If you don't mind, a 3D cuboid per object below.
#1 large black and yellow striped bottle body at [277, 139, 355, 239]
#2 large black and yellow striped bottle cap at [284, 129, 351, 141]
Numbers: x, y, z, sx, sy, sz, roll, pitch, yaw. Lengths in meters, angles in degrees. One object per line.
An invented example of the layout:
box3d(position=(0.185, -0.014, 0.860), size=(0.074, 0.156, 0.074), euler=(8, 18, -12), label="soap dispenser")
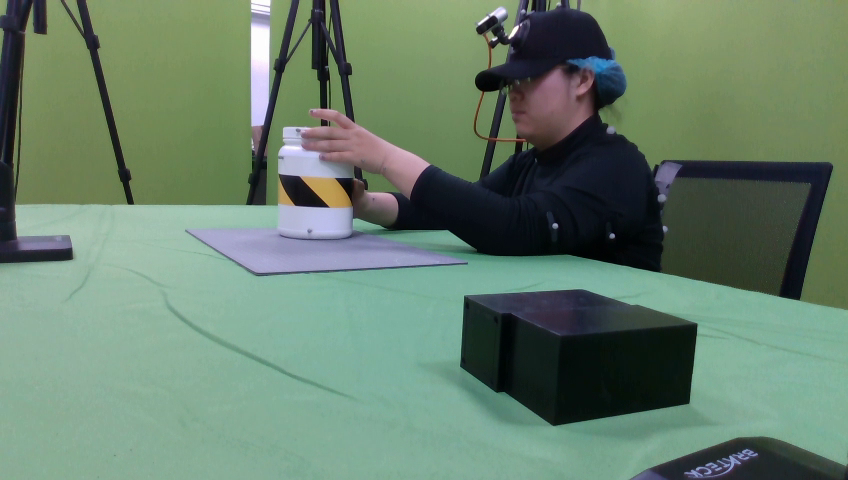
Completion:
box3d(position=(-0.188, -0.098, 1.053), size=(0.131, 0.184, 0.130), euler=(3, 7, 0), label="large black and yellow striped bottle body")
box3d(position=(-0.183, -0.181, 1.042), size=(0.115, 0.019, 0.115), euler=(1, 8, 0), label="large black and yellow striped bottle cap")
